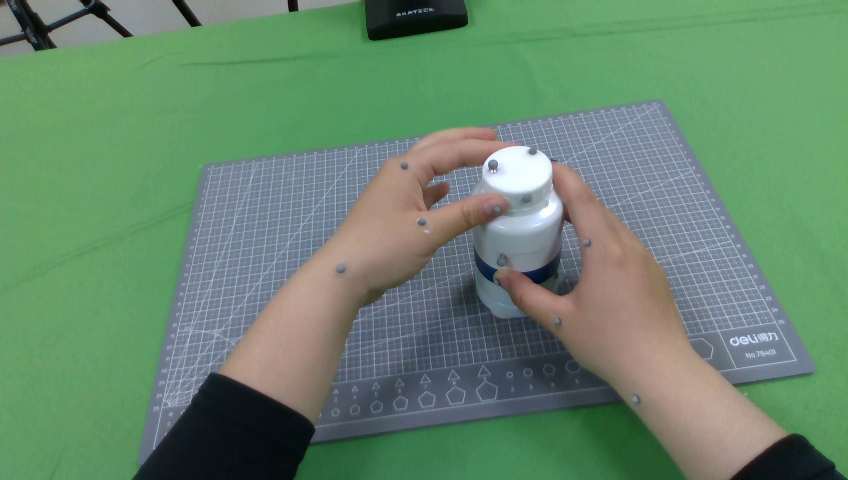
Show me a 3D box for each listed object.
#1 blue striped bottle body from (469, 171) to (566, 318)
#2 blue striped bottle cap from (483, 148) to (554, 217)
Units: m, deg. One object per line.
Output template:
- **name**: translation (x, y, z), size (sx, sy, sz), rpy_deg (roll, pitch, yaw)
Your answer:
- **blue striped bottle body**: translation (0.064, -0.004, 0.416), size (0.063, 0.122, 0.062), rpy_deg (-4, 50, 5)
- **blue striped bottle cap**: translation (0.058, -0.036, 0.377), size (0.044, 0.021, 0.044), rpy_deg (-6, 47, 6)
